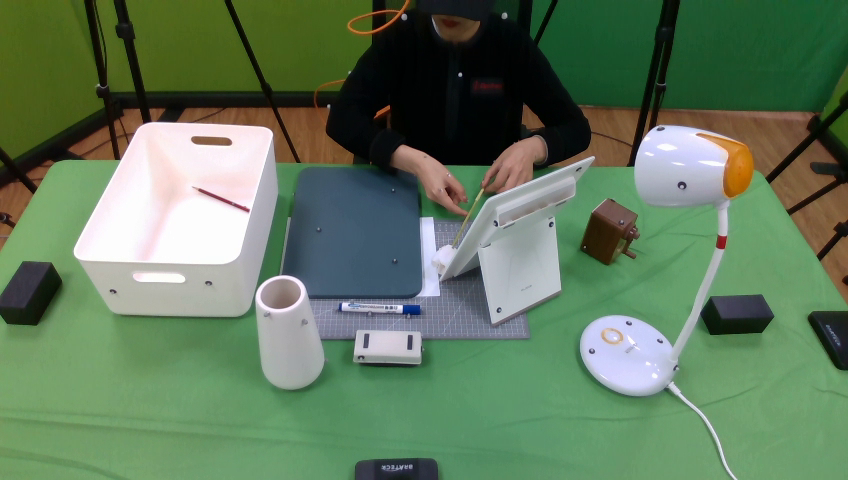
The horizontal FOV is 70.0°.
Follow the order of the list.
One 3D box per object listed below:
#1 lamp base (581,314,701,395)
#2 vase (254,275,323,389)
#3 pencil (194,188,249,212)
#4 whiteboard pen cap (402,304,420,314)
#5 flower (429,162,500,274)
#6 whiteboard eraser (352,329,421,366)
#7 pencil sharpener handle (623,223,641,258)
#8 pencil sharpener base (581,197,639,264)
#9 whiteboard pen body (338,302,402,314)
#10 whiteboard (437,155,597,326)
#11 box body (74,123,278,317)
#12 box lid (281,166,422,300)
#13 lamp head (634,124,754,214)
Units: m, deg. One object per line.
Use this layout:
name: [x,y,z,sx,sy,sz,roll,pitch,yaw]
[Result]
lamp base: [0.361,0.144,0.972,0.178,0.181,0.160,34,53,23]
vase: [-0.209,0.142,0.921,0.098,0.201,0.097,1,46,-1]
pencil: [-0.397,-0.076,1.243,0.193,0.012,0.012,21,49,17]
whiteboard pen cap: [-0.024,0.123,1.076,0.033,0.018,0.018,1,46,1]
flower: [0.097,-0.061,1.250,0.044,0.038,0.360,38,48,-6]
whiteboard eraser: [-0.061,0.179,1.005,0.113,0.042,0.055,3,48,-3]
pencil sharpener handle: [0.399,0.002,1.146,0.030,0.068,0.036,35,45,26]
pencil sharpener base: [0.362,-0.016,1.178,0.076,0.107,0.061,35,53,26]
whiteboard pen body: [-0.083,0.121,1.074,0.141,0.017,0.017,3,46,-2]
whiteboard: [0.180,0.023,1.029,0.217,0.306,0.143,-21,71,-23]
box body: [-0.421,-0.041,1.108,0.254,0.161,0.361,2,46,-3]
box lid: [-0.139,-0.029,1.219,0.263,0.015,0.369,1,46,-4]
lamp head: [0.351,-0.089,0.776,0.112,0.113,0.122,-30,30,-28]
